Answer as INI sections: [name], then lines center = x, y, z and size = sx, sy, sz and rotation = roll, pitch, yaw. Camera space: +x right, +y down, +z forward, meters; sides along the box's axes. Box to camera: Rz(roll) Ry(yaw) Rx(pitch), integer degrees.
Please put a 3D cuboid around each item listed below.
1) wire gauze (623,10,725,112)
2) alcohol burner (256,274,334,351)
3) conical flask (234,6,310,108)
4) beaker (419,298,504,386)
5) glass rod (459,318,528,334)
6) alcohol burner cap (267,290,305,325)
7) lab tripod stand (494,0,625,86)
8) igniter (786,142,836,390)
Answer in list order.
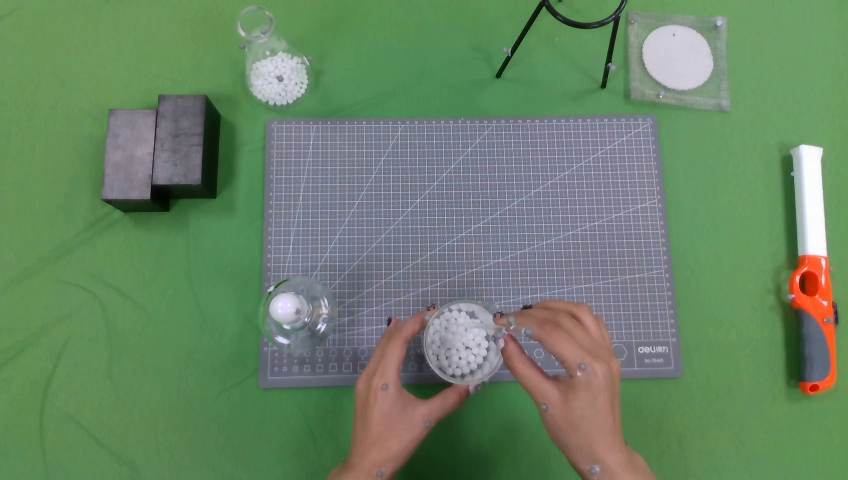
[wire gauze]
center = 0.300, -0.217, 0.724
size = 0.125, 0.011, 0.121
rotation = 5, 79, -3
[alcohol burner]
center = -0.130, 0.069, 0.595
size = 0.078, 0.119, 0.077
rotation = 0, 78, 1
[conical flask]
center = -0.167, -0.198, 0.645
size = 0.075, 0.122, 0.075
rotation = 0, 78, -1
[beaker]
center = 0.034, 0.094, 0.576
size = 0.074, 0.100, 0.084
rotation = 39, 80, 4
[glass rod]
center = 0.053, 0.071, 0.513
size = 0.008, 0.199, 0.008
rotation = 1, 84, -9
[alcohol burner cap]
center = -0.128, 0.061, 0.559
size = 0.034, 0.048, 0.033
rotation = 1, 82, -5
[lab tripod stand]
center = 0.151, -0.235, 0.658
size = 0.148, 0.132, 0.148
rotation = 0, 81, -1
[igniter]
center = 0.426, 0.026, 0.670
size = 0.057, 0.025, 0.275
rotation = 7, 79, -11
